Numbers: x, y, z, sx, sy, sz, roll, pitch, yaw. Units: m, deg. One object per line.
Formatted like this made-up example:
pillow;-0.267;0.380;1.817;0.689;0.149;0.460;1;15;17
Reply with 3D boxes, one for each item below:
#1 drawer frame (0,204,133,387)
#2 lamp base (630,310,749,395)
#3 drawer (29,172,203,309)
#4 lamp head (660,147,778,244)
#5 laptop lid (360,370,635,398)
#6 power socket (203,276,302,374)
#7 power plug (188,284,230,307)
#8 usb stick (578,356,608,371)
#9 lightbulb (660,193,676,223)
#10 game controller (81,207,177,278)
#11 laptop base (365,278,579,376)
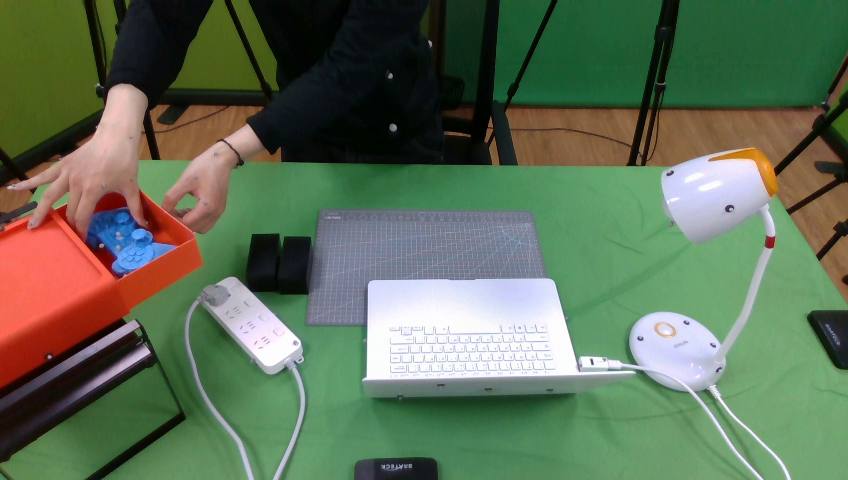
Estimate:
drawer frame;-0.537;0.074;0.797;0.200;0.083;0.213;36;54;26
lamp base;0.447;0.142;0.984;0.161;0.181;0.178;-24;55;-24
drawer;-0.460;0.017;0.859;0.193;0.073;0.211;35;54;26
lamp head;0.389;-0.063;0.784;0.123;0.113;0.112;-22;33;37
laptop lid;0.090;0.208;0.863;0.357;0.242;0.013;0;70;-6
power socket;-0.297;0.141;1.034;0.072;0.033;0.225;-34;58;-31
power plug;-0.368;0.100;1.036;0.072;0.053;0.035;-27;53;-24
usb stick;0.273;0.207;1.007;0.059;0.027;0.021;0;52;0
lightbulb;0.366;-0.060;0.806;0.060;0.107;0.059;17;61;-32
game controller;-0.430;0.001;0.891;0.154;0.052;0.097;36;56;27
laptop base;0.076;0.161;1.053;0.355;0.023;0.234;0;44;-4
